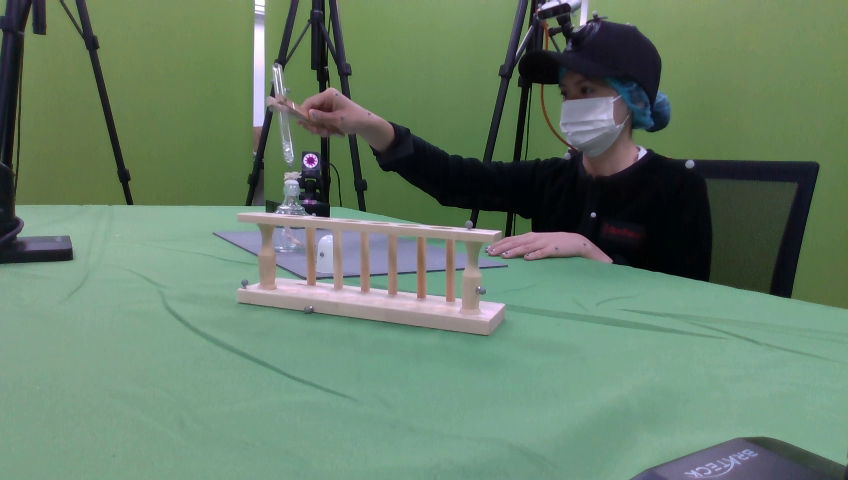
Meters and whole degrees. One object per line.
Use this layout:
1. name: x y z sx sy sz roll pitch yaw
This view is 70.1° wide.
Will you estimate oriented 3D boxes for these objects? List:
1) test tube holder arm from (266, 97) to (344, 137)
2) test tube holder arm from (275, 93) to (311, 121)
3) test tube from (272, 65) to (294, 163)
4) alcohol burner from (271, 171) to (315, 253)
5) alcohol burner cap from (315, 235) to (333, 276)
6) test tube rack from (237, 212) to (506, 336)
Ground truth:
1. test tube holder arm: -0.181 -0.191 0.948 0.013 0.015 0.179 -14 -12 25
2. test tube holder arm: -0.195 -0.197 0.906 0.010 0.015 0.088 -12 -12 17
3. test tube: -0.206 -0.184 0.883 0.017 0.150 0.017 -9 -9 -1
4. alcohol burner: -0.196 -0.041 0.884 0.078 0.119 0.078 3 5 0
5. alcohol burner cap: -0.116 0.018 0.728 0.034 0.048 0.034 3 6 0
6. test tube rack: -0.049 0.024 0.552 0.242 0.085 0.067 5 8 18
